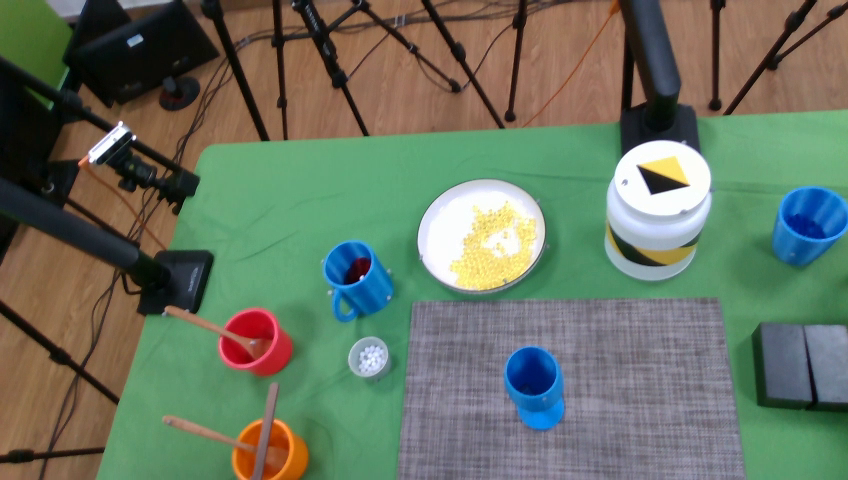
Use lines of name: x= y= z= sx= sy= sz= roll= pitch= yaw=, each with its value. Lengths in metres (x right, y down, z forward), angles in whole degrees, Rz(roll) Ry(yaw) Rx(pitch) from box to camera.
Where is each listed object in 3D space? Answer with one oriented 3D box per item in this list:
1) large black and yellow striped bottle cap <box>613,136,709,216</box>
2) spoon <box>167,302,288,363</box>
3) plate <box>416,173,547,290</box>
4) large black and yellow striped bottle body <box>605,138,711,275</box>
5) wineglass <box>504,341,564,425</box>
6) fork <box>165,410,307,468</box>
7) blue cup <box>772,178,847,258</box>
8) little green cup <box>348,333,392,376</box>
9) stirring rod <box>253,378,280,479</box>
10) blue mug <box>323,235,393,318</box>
large black and yellow striped bottle cap: x=0.302 y=-0.083 z=0.774 sx=0.115 sy=0.019 sz=0.114 roll=-6 pitch=61 yaw=10
spoon: x=-0.300 y=0.138 z=0.932 sx=0.195 sy=0.021 sz=0.041 roll=30 pitch=68 yaw=-20
plate: x=0.092 y=-0.012 z=0.973 sx=0.209 sy=0.038 sz=0.207 roll=-6 pitch=62 yaw=11
large black and yellow striped bottle body: x=0.323 y=-0.044 z=0.846 sx=0.130 sy=0.186 sz=0.129 roll=-6 pitch=62 yaw=12
wineglass: x=0.144 y=0.186 z=0.772 sx=0.073 sy=0.174 sz=0.073 roll=-6 pitch=61 yaw=12
fork: x=-0.260 y=0.277 z=0.846 sx=0.209 sy=0.018 sz=0.028 roll=28 pitch=73 yaw=-21
blue cup: x=0.523 y=-0.022 z=0.831 sx=0.092 sy=0.101 sz=0.092 roll=-7 pitch=62 yaw=13
little green cup: x=-0.079 y=0.176 z=0.917 sx=0.061 sy=0.039 sz=0.061 roll=-6 pitch=62 yaw=12
stirring rod: x=-0.219 y=0.276 z=0.832 sx=0.014 sy=0.006 sz=0.174 roll=-3 pitch=63 yaw=13
blue mug: x=-0.108 y=0.067 z=0.943 sx=0.082 sy=0.107 sz=0.116 roll=17 pitch=69 yaw=22
